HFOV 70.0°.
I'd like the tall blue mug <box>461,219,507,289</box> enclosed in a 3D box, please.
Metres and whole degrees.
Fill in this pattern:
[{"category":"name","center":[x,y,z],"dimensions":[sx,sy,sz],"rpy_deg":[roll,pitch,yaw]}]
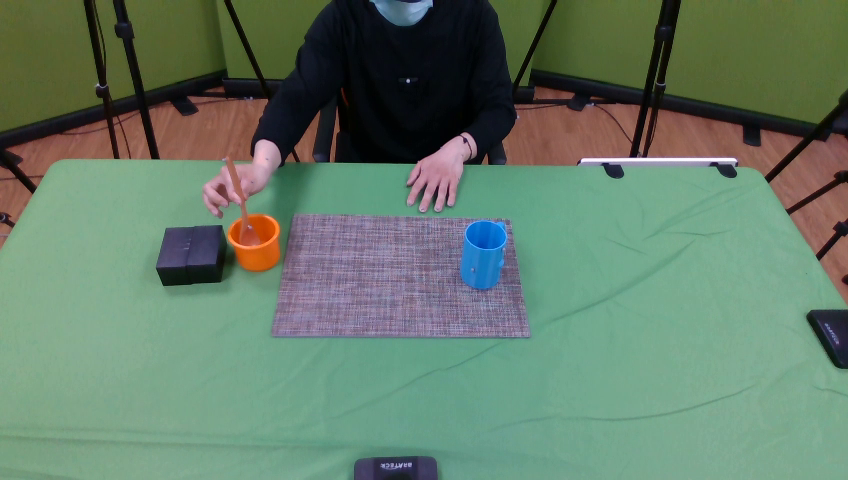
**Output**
[{"category":"tall blue mug","center":[0.111,0.016,1.122],"dimensions":[0.078,0.108,0.106],"rpy_deg":[6,46,4]}]

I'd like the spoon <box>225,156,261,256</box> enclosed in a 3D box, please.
[{"category":"spoon","center":[-0.324,-0.058,1.082],"dimensions":[0.021,0.194,0.041],"rpy_deg":[21,38,35]}]
